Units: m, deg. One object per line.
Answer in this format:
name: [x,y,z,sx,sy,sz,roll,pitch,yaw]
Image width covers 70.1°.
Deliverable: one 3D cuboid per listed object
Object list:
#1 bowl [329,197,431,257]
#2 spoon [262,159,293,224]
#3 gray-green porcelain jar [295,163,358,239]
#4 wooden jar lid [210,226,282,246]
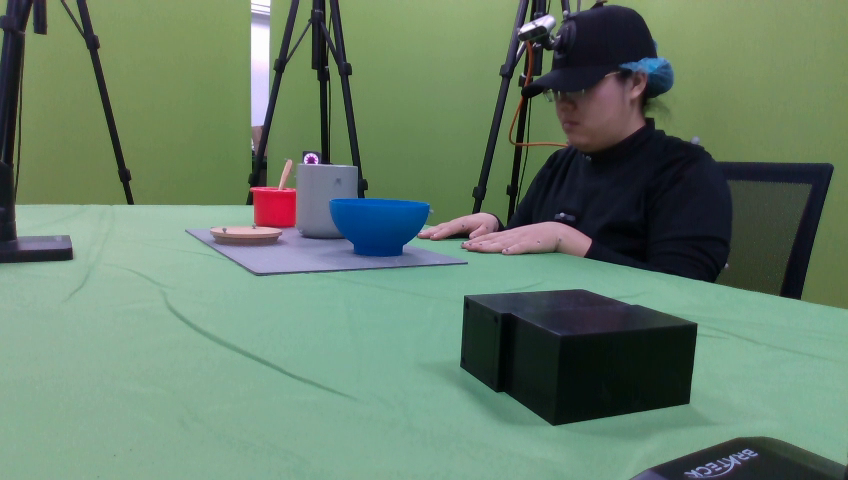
bowl: [-0.067,-0.019,0.895,0.151,0.077,0.151,3,7,0]
spoon: [-0.289,-0.102,1.227,0.041,0.021,0.193,3,51,3]
gray-green porcelain jar: [-0.170,-0.069,1.054,0.106,0.126,0.106,3,7,0]
wooden jar lid: [-0.279,-0.007,0.951,0.108,0.020,0.108,2,8,0]
